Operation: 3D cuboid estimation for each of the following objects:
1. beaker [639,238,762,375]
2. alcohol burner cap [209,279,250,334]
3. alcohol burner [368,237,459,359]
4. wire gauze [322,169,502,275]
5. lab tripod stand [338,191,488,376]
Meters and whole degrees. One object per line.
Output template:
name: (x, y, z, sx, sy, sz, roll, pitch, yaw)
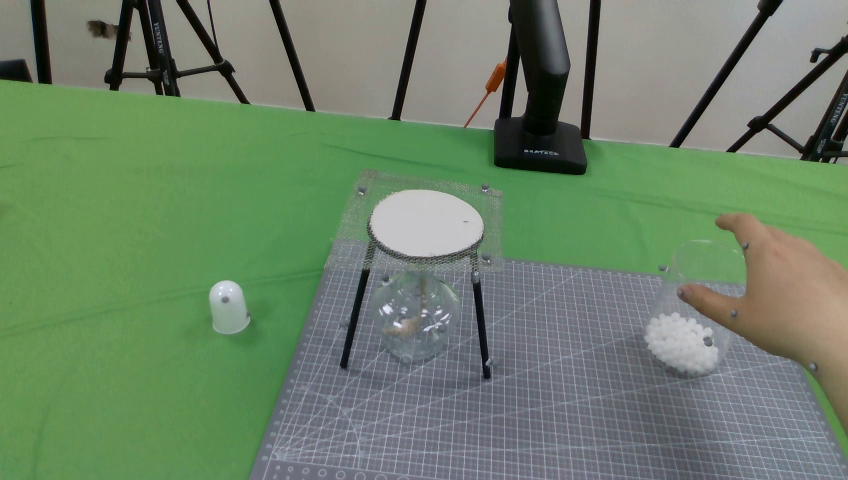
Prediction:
beaker: (0.232, 0.062, 0.520, 0.074, 0.101, 0.083, 15, 41, 13)
alcohol burner cap: (-0.172, 0.056, 0.533, 0.034, 0.048, 0.033, 3, 40, -2)
alcohol burner: (-0.007, 0.043, 0.505, 0.078, 0.120, 0.077, 4, 40, -3)
wire gauze: (-0.002, -0.015, 0.453, 0.121, 0.011, 0.124, 6, 38, 3)
lab tripod stand: (-0.005, 0.035, 0.499, 0.148, 0.132, 0.147, 2, 38, -1)
